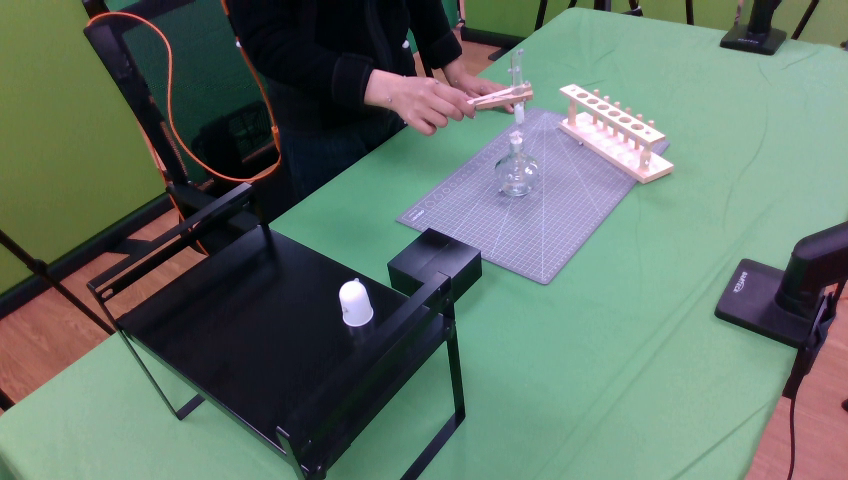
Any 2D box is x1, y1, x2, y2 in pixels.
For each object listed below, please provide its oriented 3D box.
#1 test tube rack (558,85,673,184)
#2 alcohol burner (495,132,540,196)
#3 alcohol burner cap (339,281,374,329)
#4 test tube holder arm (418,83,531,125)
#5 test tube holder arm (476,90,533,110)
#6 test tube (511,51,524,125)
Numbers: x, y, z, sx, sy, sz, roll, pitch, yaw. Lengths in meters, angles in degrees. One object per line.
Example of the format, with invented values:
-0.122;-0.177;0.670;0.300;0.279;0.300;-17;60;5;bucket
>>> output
0.347;-0.203;1.109;0.067;0.085;0.240;-23;42;-17;test tube rack
0.160;-0.135;1.035;0.078;0.119;0.077;-5;42;5;alcohol burner
-0.071;0.063;0.617;0.034;0.048;0.033;-4;39;4;alcohol burner cap
0.078;-0.208;0.928;0.178;0.015;0.013;-15;59;3;test tube holder arm
0.122;-0.213;0.922;0.088;0.015;0.010;-9;60;7;test tube holder arm
0.142;-0.226;0.916;0.017;0.151;0.017;-5;61;9;test tube
